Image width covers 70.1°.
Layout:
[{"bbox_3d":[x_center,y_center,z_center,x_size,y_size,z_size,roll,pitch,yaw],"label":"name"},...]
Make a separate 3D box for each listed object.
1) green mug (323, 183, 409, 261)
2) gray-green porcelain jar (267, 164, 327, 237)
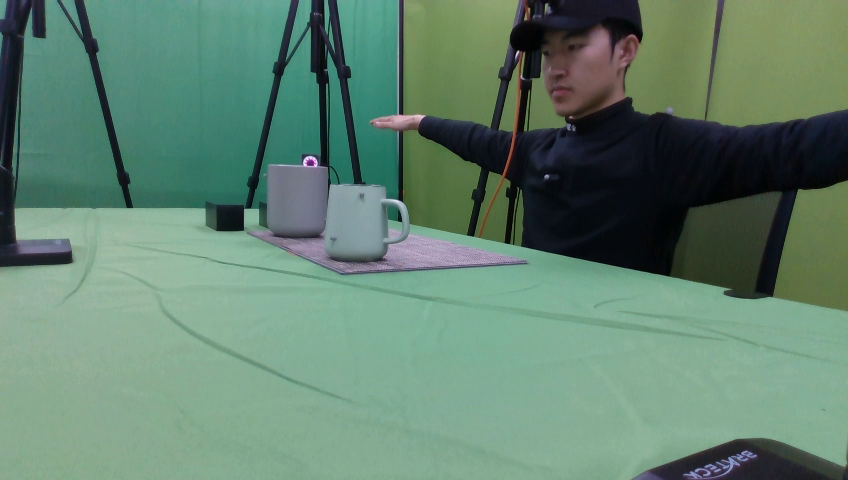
[{"bbox_3d":[-0.080,-0.026,0.851,0.125,0.105,0.093,5,7,20],"label":"green mug"},{"bbox_3d":[-0.227,-0.072,1.086,0.106,0.126,0.106,2,8,0],"label":"gray-green porcelain jar"}]
